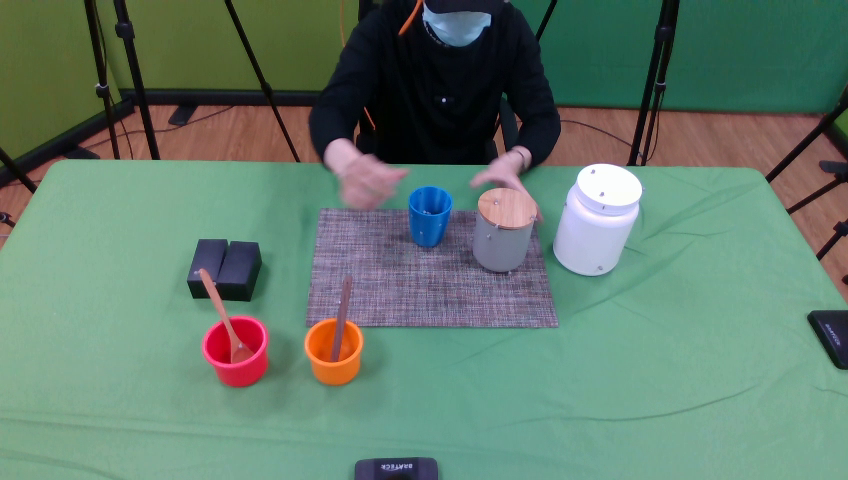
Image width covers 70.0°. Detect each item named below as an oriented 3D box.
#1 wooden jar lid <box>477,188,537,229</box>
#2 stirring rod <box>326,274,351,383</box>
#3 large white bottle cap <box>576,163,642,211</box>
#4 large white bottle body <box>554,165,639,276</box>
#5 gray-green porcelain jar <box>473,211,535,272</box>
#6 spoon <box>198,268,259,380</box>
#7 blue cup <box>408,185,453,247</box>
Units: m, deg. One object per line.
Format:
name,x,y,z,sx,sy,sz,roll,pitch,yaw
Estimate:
wooden jar lid,0.149,-0.054,1.094,0.108,0.021,0.107,4,45,-4
stirring rod,-0.137,0.142,0.971,0.014,0.006,0.176,9,88,3
large white bottle cap,0.330,-0.096,1.080,0.115,0.018,0.114,2,46,-2
large white bottle body,0.326,-0.037,1.141,0.131,0.185,0.130,2,46,-2
gray-green porcelain jar,0.148,-0.011,1.139,0.106,0.127,0.105,2,46,-2
spoon,-0.312,0.132,0.962,0.041,0.021,0.194,-24,96,-20
blue cup,0.008,-0.042,1.176,0.093,0.101,0.092,3,47,-3
